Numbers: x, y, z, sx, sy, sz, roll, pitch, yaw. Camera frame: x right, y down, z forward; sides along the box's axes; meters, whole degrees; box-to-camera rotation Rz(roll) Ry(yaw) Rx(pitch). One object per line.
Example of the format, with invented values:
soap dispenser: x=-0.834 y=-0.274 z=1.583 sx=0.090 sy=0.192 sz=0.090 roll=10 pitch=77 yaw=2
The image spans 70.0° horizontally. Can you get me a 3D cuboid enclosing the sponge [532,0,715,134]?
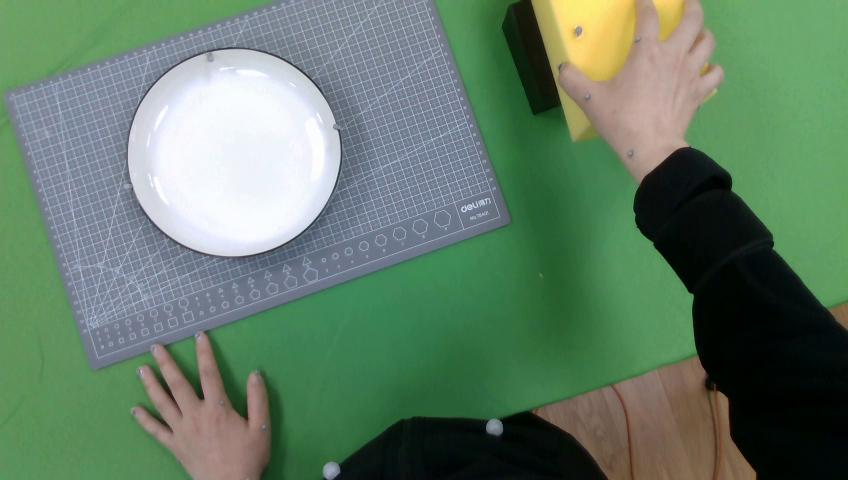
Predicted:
sponge: x=0.170 y=-0.216 z=0.559 sx=0.118 sy=0.061 sz=0.206 roll=-16 pitch=86 yaw=0

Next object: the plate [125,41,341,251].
plate: x=-0.185 y=-0.091 z=0.605 sx=0.209 sy=0.038 sz=0.209 roll=0 pitch=87 yaw=-2
